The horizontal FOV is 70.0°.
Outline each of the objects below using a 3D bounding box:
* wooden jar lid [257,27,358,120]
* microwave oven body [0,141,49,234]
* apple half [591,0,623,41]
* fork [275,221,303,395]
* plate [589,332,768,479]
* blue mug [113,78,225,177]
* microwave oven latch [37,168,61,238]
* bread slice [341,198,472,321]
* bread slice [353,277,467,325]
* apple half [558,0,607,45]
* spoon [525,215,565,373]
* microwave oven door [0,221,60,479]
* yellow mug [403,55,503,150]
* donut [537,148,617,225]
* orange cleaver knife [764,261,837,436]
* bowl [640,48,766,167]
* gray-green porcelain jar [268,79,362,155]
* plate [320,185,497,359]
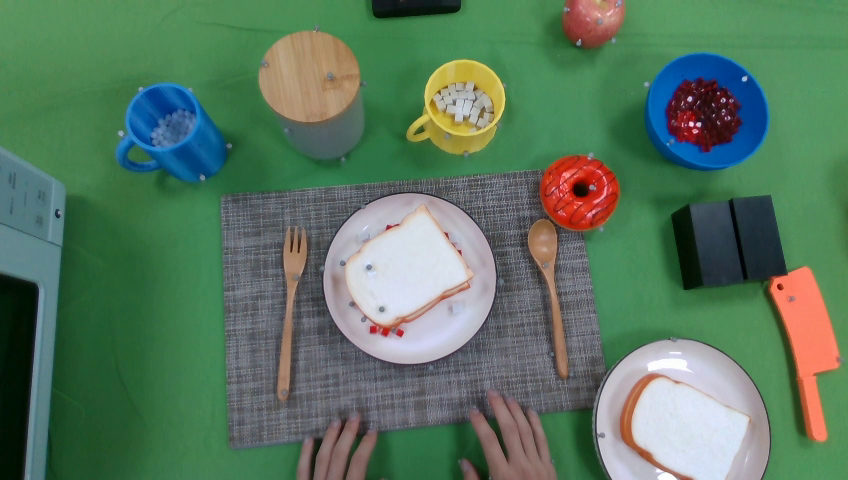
[{"bbox_3d":[-0.126,-0.179,0.661,0.108,0.021,0.108,1,76,-2],"label":"wooden jar lid"},{"bbox_3d":[-0.581,0.115,0.570,0.326,0.261,0.439,-2,79,-4],"label":"microwave oven body"},{"bbox_3d":[0.227,-0.306,0.795,0.053,0.075,0.080,-37,78,-15],"label":"apple half"},{"bbox_3d":[-0.163,0.079,0.720,0.028,0.018,0.206,4,77,-10],"label":"fork"},{"bbox_3d":[0.293,0.213,0.711,0.209,0.038,0.208,1,78,-2],"label":"plate"},{"bbox_3d":[-0.305,-0.121,0.714,0.116,0.106,0.082,-30,81,-8],"label":"blue mug"},{"bbox_3d":[-0.444,-0.043,0.707,0.030,0.029,0.079,-1,79,-3],"label":"microwave oven latch"},{"bbox_3d":[-0.026,0.031,0.702,0.134,0.018,0.106,-36,79,-10],"label":"bread slice"},{"bbox_3d":[-0.027,0.040,0.729,0.131,0.019,0.104,-32,83,-10],"label":"bread slice"},{"bbox_3d":[0.197,-0.282,0.787,0.033,0.081,0.081,-38,82,-14],"label":"apple half"},{"bbox_3d":[0.152,0.065,0.738,0.042,0.021,0.193,-2,77,-26],"label":"spoon"},{"bbox_3d":[-0.433,0.150,0.565,0.039,0.244,0.354,-2,78,-3],"label":"microwave oven door"},{"bbox_3d":[0.031,-0.165,0.761,0.131,0.064,0.099,-29,82,-7],"label":"yellow mug"},{"bbox_3d":[0.189,-0.066,0.756,0.099,0.048,0.098,1,79,-3],"label":"donut"},{"bbox_3d":[0.473,0.130,0.747,0.077,0.012,0.210,-3,77,-10],"label":"orange cleaver knife"},{"bbox_3d":[0.338,-0.155,0.768,0.151,0.077,0.150,1,79,-2],"label":"bowl"},{"bbox_3d":[-0.128,-0.166,0.722,0.106,0.127,0.105,1,78,-2],"label":"gray-green porcelain jar"},{"bbox_3d":[-0.018,0.038,0.727,0.208,0.039,0.206,1,79,-3],"label":"plate"}]
